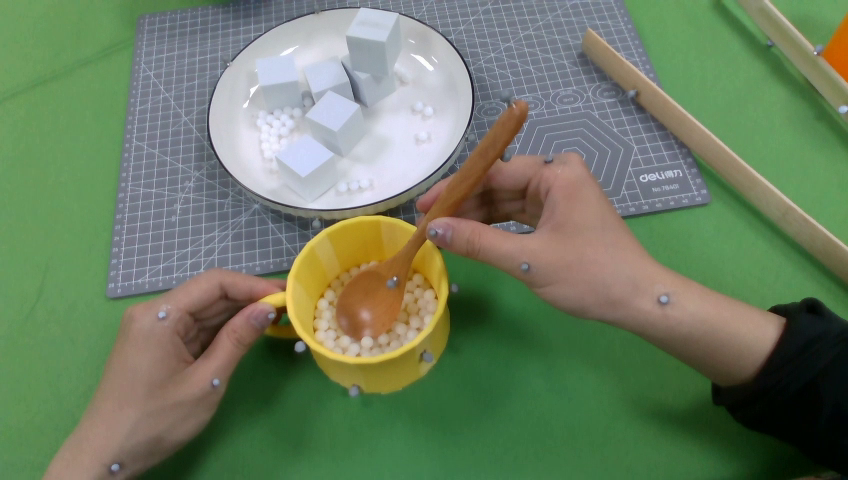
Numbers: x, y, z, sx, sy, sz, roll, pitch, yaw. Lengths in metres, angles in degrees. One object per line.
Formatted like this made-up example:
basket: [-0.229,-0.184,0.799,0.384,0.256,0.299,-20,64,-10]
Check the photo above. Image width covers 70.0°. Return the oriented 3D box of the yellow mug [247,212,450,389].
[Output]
yellow mug: [-0.049,0.043,0.393,0.131,0.064,0.099,-9,61,-1]

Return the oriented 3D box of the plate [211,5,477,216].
plate: [-0.061,-0.104,0.487,0.207,0.039,0.206,-1,61,3]

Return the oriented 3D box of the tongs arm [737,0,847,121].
tongs arm: [0.323,-0.077,0.456,0.051,0.027,0.381,-22,64,-7]

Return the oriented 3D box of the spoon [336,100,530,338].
spoon: [0.000,-0.004,0.352,0.041,0.194,0.021,45,38,7]

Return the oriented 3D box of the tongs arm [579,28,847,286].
tongs arm: [0.251,-0.040,0.445,0.028,0.028,0.384,-33,65,-16]
